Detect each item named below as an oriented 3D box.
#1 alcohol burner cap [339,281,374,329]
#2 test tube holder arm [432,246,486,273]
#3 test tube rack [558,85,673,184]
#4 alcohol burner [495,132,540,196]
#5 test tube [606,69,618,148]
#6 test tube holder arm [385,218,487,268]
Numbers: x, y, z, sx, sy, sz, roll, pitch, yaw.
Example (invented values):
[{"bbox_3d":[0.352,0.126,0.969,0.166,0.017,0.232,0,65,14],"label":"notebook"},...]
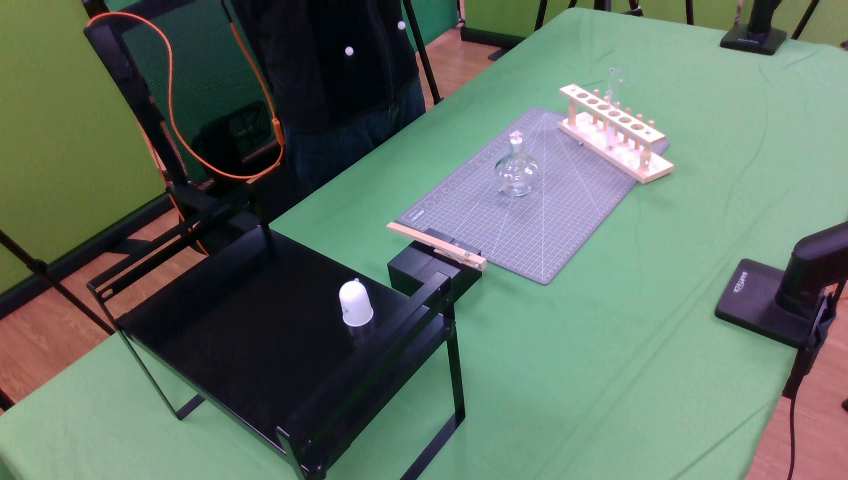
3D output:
[{"bbox_3d":[-0.071,0.063,0.617,0.034,0.048,0.033,-5,39,4],"label":"alcohol burner cap"},{"bbox_3d":[0.050,0.024,0.870,0.087,0.010,0.015,26,40,29],"label":"test tube holder arm"},{"bbox_3d":[0.347,-0.203,1.109,0.067,0.085,0.240,-22,42,-17],"label":"test tube rack"},{"bbox_3d":[0.159,-0.135,1.035,0.078,0.119,0.077,-5,42,5],"label":"alcohol burner"},{"bbox_3d":[0.330,-0.228,1.064,0.017,0.151,0.017,-7,39,6],"label":"test tube"},{"bbox_3d":[0.014,0.003,0.888,0.177,0.013,0.015,26,40,29],"label":"test tube holder arm"}]
